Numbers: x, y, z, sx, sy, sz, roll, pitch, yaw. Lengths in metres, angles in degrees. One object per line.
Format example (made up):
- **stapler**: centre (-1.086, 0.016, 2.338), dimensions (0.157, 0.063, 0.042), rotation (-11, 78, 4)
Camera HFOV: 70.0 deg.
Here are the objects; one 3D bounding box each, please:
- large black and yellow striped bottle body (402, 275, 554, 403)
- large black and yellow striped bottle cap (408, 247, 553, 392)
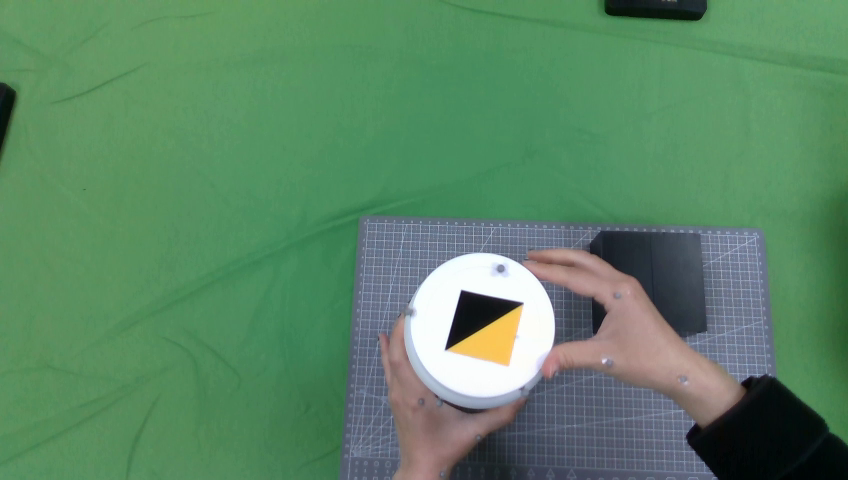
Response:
- **large black and yellow striped bottle body**: centre (0.048, 0.084, 0.561), dimensions (0.131, 0.185, 0.130), rotation (0, 76, 2)
- **large black and yellow striped bottle cap**: centre (0.044, 0.062, 0.480), dimensions (0.115, 0.019, 0.114), rotation (0, 78, 1)
